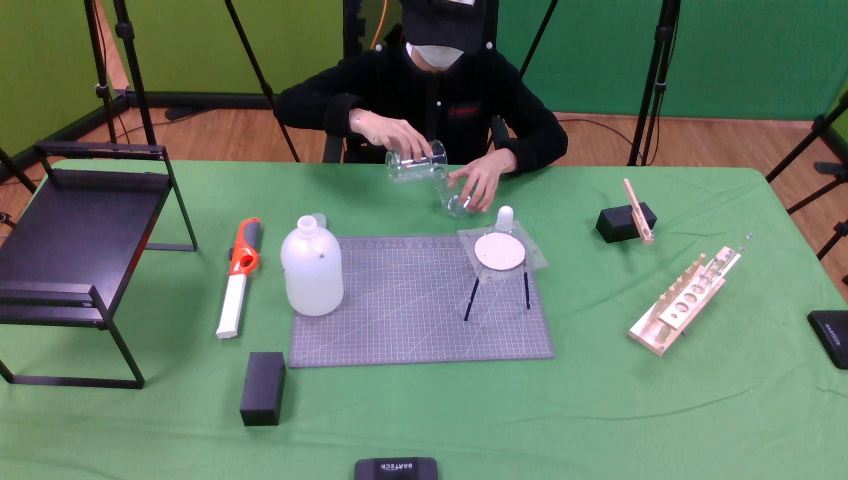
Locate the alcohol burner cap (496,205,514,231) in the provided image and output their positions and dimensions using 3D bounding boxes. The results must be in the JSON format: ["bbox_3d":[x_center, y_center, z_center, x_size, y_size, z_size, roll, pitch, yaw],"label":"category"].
[{"bbox_3d":[0.153,-0.045,1.131,0.034,0.048,0.033,2,40,-1],"label":"alcohol burner cap"}]

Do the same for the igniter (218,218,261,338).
[{"bbox_3d":[-0.336,0.060,1.111,0.057,0.025,0.274,-7,46,4],"label":"igniter"}]

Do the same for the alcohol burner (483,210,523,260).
[{"bbox_3d":[0.152,-0.018,1.156,0.078,0.120,0.077,0,47,0],"label":"alcohol burner"}]

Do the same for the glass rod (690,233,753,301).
[{"bbox_3d":[0.507,0.053,1.041,0.008,0.200,0.008,5,51,-6],"label":"glass rod"}]

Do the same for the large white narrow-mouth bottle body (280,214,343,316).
[{"bbox_3d":[-0.190,0.035,1.025,0.102,0.195,0.101,2,46,-2],"label":"large white narrow-mouth bottle body"}]

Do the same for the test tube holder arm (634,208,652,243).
[{"bbox_3d":[0.428,-0.030,1.189,0.010,0.015,0.087,2,47,-3],"label":"test tube holder arm"}]

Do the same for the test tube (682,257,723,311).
[{"bbox_3d":[0.475,0.080,1.037,0.017,0.151,0.017,1,50,-1],"label":"test tube"}]

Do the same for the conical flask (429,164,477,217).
[{"bbox_3d":[0.053,-0.105,1.222,0.075,0.122,0.075,-14,57,23],"label":"conical flask"}]

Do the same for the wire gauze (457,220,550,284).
[{"bbox_3d":[0.131,0.014,1.016,0.121,0.011,0.124,-11,46,-14],"label":"wire gauze"}]

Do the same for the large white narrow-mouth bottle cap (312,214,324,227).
[{"bbox_3d":[-0.219,-0.033,1.214,0.038,0.024,0.037,2,46,-2],"label":"large white narrow-mouth bottle cap"}]

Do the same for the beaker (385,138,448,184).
[{"bbox_3d":[-0.016,-0.145,1.135,0.100,0.084,0.073,-12,43,-21],"label":"beaker"}]

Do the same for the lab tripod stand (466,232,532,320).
[{"bbox_3d":[0.125,0.059,1.065,0.148,0.132,0.147,1,45,0],"label":"lab tripod stand"}]

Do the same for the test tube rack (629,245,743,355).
[{"bbox_3d":[0.474,0.095,1.091,0.242,0.085,0.066,-34,56,-31],"label":"test tube rack"}]

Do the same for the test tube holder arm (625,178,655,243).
[{"bbox_3d":[0.433,-0.062,1.220,0.013,0.015,0.177,2,47,-3],"label":"test tube holder arm"}]
